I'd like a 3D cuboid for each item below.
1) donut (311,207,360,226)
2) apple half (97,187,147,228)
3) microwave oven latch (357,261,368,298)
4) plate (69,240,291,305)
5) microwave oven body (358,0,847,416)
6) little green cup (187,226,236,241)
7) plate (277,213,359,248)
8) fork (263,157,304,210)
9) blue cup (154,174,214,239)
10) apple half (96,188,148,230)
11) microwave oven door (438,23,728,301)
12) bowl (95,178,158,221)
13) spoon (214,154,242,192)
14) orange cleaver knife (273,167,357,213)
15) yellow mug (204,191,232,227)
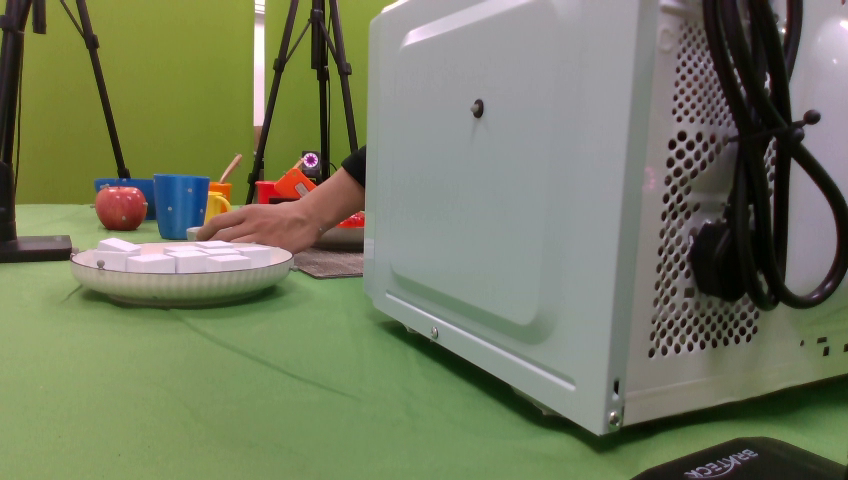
[{"bbox_3d":[-0.137,-0.029,0.995,0.099,0.048,0.099,4,8,0],"label":"donut"},{"bbox_3d":[-0.534,-0.059,1.071,0.082,0.081,0.032,-1,11,-25],"label":"apple half"},{"bbox_3d":[-0.019,0.033,0.530,0.079,0.029,0.030,0,7,-25],"label":"microwave oven latch"},{"bbox_3d":[-0.242,0.031,0.618,0.208,0.039,0.207,2,7,0],"label":"plate"},{"bbox_3d":[0.211,-0.047,0.474,0.444,0.260,0.324,-1,7,-28],"label":"microwave oven body"},{"bbox_3d":[-0.282,0.005,0.806,0.061,0.038,0.061,2,11,0],"label":"little green cup"},{"bbox_3d":[-0.135,-0.017,0.992,0.209,0.038,0.209,3,8,0],"label":"plate"},{"bbox_3d":[-0.345,-0.143,1.505,0.028,0.019,0.207,-3,46,28],"label":"fork"},{"bbox_3d":[-0.391,-0.054,0.978,0.093,0.100,0.092,4,6,0],"label":"blue cup"},{"bbox_3d":[-0.517,-0.052,1.036,0.081,0.074,0.053,2,10,-26],"label":"apple half"},{"bbox_3d":[0.181,-0.072,0.620,0.358,0.243,0.039,-2,8,-29],"label":"microwave oven door"},{"bbox_3d":[-0.576,-0.081,1.217,0.151,0.077,0.151,3,8,0],"label":"bowl"},{"bbox_3d":[-0.439,-0.124,1.318,0.041,0.193,0.022,5,-36,17],"label":"spoon"},{"bbox_3d":[-0.238,-0.090,1.381,0.212,0.077,0.012,31,0,-19],"label":"orange cleaver knife"},{"bbox_3d":[-0.415,-0.057,1.131,0.130,0.064,0.100,6,7,16],"label":"yellow mug"}]
